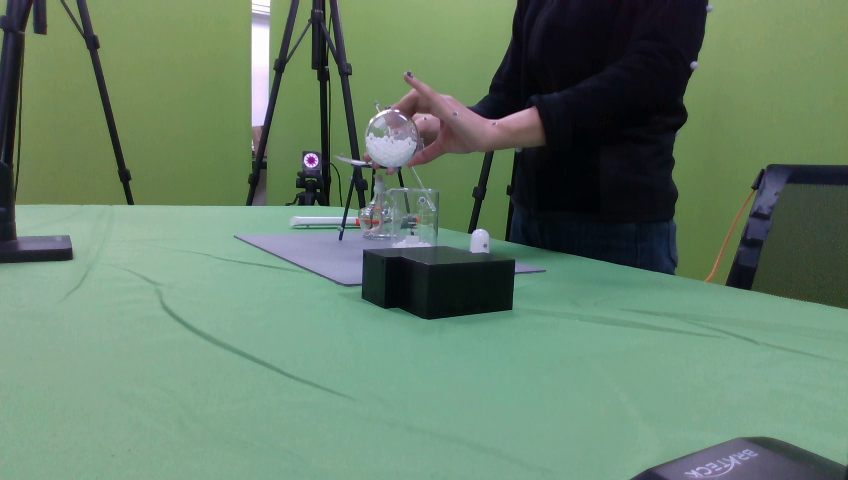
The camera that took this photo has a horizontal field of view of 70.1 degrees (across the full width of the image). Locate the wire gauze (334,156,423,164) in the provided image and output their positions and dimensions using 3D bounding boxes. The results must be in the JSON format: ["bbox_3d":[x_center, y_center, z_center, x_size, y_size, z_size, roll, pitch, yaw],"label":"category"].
[{"bbox_3d":[-0.081,-0.137,1.051,0.122,0.011,0.124,0,8,-30],"label":"wire gauze"}]

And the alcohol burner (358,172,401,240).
[{"bbox_3d":[-0.077,-0.061,1.065,0.078,0.119,0.078,4,9,0],"label":"alcohol burner"}]

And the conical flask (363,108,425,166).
[{"bbox_3d":[-0.031,-0.135,0.832,0.075,0.075,0.122,4,3,13],"label":"conical flask"}]

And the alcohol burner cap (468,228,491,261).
[{"bbox_3d":[0.082,0.006,0.878,0.034,0.048,0.034,3,6,0],"label":"alcohol burner cap"}]

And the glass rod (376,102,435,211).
[{"bbox_3d":[-0.029,-0.127,0.902,0.008,0.199,0.008,-25,-17,-8],"label":"glass rod"}]

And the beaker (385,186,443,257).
[{"bbox_3d":[-0.016,-0.028,0.886,0.084,0.100,0.074,1,7,-9],"label":"beaker"}]

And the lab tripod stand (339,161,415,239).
[{"bbox_3d":[-0.082,-0.070,1.059,0.148,0.131,0.148,4,6,0],"label":"lab tripod stand"}]

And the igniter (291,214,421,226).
[{"bbox_3d":[-0.135,-0.041,1.250,0.278,0.025,0.057,-1,-3,-28],"label":"igniter"}]
